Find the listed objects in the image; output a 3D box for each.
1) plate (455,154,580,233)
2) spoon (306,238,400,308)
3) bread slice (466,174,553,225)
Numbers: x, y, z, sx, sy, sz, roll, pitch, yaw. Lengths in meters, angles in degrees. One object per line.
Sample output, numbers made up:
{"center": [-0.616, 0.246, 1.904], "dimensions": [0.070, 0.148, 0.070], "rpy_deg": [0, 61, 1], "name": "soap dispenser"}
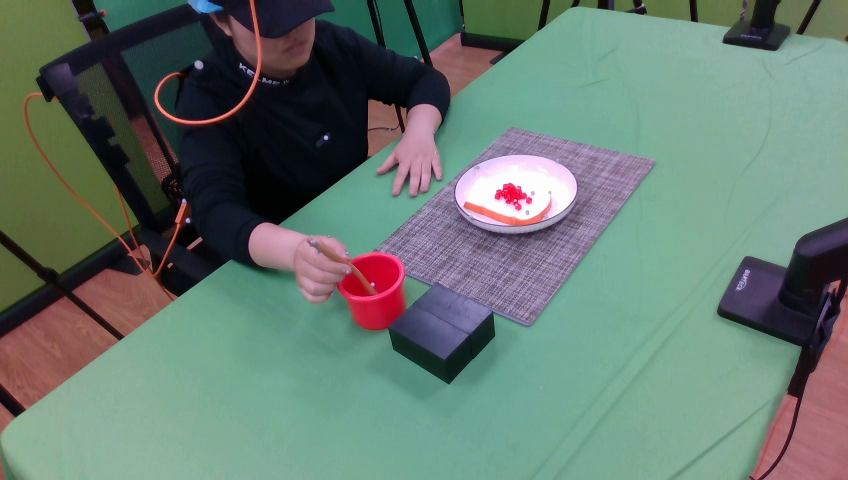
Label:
{"center": [0.158, -0.076, 1.028], "dimensions": [0.209, 0.038, 0.208], "rpy_deg": [-5, 40, 5], "name": "plate"}
{"center": [-0.094, 0.046, 0.821], "dimensions": [0.041, 0.195, 0.021], "rpy_deg": [28, 75, 46], "name": "spoon"}
{"center": [0.152, -0.067, 1.022], "dimensions": [0.130, 0.019, 0.105], "rpy_deg": [22, 50, 34], "name": "bread slice"}
